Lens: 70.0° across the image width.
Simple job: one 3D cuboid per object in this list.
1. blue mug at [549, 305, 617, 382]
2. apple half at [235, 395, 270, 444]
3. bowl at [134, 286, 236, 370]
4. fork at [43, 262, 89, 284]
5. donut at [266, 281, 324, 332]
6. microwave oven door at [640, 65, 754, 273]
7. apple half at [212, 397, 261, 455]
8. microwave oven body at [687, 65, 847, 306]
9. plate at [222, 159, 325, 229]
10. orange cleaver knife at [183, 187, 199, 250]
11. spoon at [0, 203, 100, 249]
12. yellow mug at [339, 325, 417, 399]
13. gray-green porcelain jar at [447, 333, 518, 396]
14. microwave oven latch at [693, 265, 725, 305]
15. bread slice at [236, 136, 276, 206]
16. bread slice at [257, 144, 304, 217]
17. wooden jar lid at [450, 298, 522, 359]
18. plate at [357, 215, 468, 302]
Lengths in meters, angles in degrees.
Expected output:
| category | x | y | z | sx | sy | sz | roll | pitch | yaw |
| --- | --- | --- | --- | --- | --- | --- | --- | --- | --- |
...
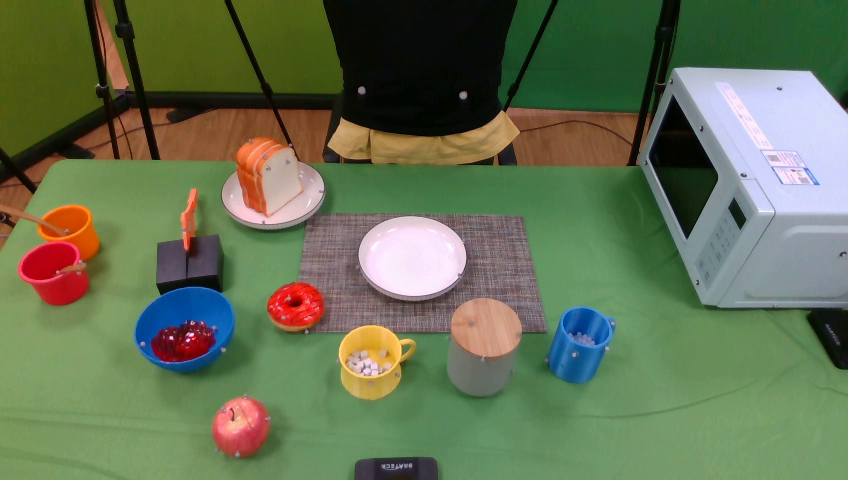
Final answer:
| category | x | y | z | sx | sy | sz | roll | pitch | yaw |
| --- | --- | --- | --- | --- | --- | --- | --- | --- | --- |
| blue mug | 0.269 | 0.165 | 0.998 | 0.116 | 0.106 | 0.082 | -19 | 51 | -21 |
| apple half | -0.245 | 0.259 | 0.893 | 0.033 | 0.082 | 0.081 | -29 | 55 | -22 |
| bowl | -0.377 | 0.155 | 0.981 | 0.151 | 0.077 | 0.150 | 2 | 46 | -2 |
| fork | -0.599 | 0.053 | 1.013 | 0.207 | 0.019 | 0.028 | -14 | 30 | 45 |
| donut | -0.222 | 0.114 | 1.049 | 0.099 | 0.048 | 0.098 | 2 | 45 | -2 |
| microwave oven door | 0.523 | -0.147 | 1.193 | 0.039 | 0.245 | 0.353 | 0 | 47 | -3 |
| apple half | -0.276 | 0.276 | 0.877 | 0.053 | 0.075 | 0.080 | -29 | 58 | -21 |
| microwave oven body | 0.669 | -0.111 | 1.176 | 0.326 | 0.261 | 0.439 | 0 | 46 | -3 |
| plate | -0.307 | -0.095 | 1.251 | 0.209 | 0.038 | 0.208 | 2 | 46 | -2 |
| orange cleaver knife | -0.445 | -0.045 | 1.163 | 0.012 | 0.077 | 0.210 | -5 | 23 | -13 |
| spoon | -0.683 | -0.031 | 1.088 | 0.195 | 0.021 | 0.041 | 33 | 33 | -38 |
| yellow mug | -0.072 | 0.190 | 0.978 | 0.131 | 0.064 | 0.099 | -17 | 50 | -20 |
| gray-green porcelain jar | 0.091 | 0.178 | 0.960 | 0.106 | 0.127 | 0.105 | 2 | 46 | -2 |
| microwave oven latch | 0.522 | 0.082 | 1.116 | 0.030 | 0.029 | 0.078 | 2 | 46 | -1 |
| bread slice | -0.332 | -0.147 | 1.225 | 0.019 | 0.132 | 0.105 | 25 | 47 | 26 |
| bread slice | -0.290 | -0.124 | 1.205 | 0.018 | 0.135 | 0.107 | 24 | 53 | 23 |
| wooden jar lid | 0.093 | 0.135 | 0.914 | 0.108 | 0.021 | 0.107 | 2 | 48 | -3 |
| plate | -0.022 | 0.037 | 1.141 | 0.208 | 0.039 | 0.206 | 2 | 46 | -2 |
